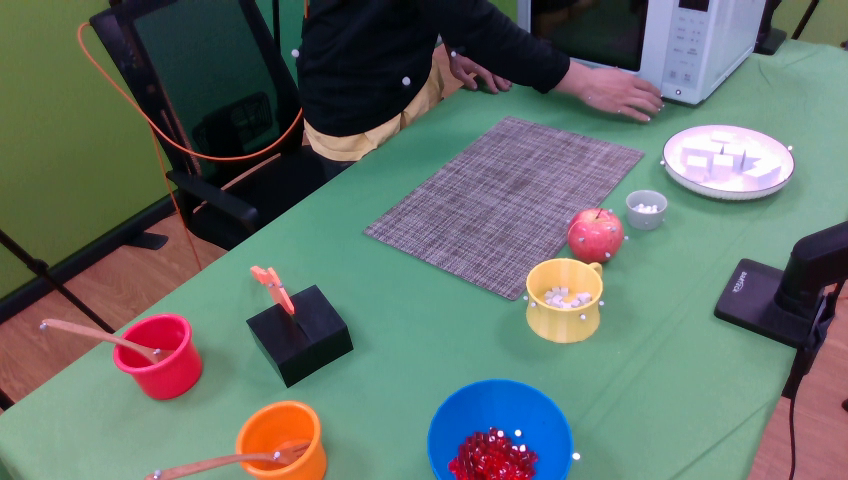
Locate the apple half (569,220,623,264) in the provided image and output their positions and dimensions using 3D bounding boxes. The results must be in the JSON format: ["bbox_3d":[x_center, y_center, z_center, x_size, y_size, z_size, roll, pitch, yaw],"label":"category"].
[{"bbox_3d":[0.251,0.010,0.884,0.081,0.081,0.032,3,37,12],"label":"apple half"}]

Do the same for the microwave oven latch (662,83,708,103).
[{"bbox_3d":[0.518,-0.296,1.204,0.078,0.029,0.030,28,52,35],"label":"microwave oven latch"}]

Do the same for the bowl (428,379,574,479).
[{"bbox_3d":[0.082,0.233,0.644,0.151,0.077,0.150,-4,39,4],"label":"bowl"}]

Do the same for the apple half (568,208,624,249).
[{"bbox_3d":[0.259,-0.014,0.914,0.080,0.075,0.053,0,36,15],"label":"apple half"}]

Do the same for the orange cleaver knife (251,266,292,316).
[{"bbox_3d":[-0.221,0.071,0.873,0.012,0.077,0.210,-25,11,-21],"label":"orange cleaver knife"}]

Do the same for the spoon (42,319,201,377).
[{"bbox_3d":[-0.385,0.135,0.779,0.195,0.021,0.041,28,36,-26],"label":"spoon"}]

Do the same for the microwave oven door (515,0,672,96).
[{"bbox_3d":[0.344,-0.455,1.260,0.353,0.245,0.039,26,51,33],"label":"microwave oven door"}]

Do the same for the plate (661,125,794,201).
[{"bbox_3d":[0.513,-0.128,1.035,0.207,0.039,0.206,-4,40,4],"label":"plate"}]

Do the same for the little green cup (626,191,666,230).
[{"bbox_3d":[0.352,-0.046,0.963,0.061,0.039,0.061,-4,40,4],"label":"little green cup"}]

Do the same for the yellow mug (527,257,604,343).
[{"bbox_3d":[0.201,0.072,0.825,0.131,0.064,0.099,-32,46,-27],"label":"yellow mug"}]

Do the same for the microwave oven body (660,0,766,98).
[{"bbox_3d":[0.472,-0.513,1.317,0.438,0.261,0.327,26,51,34],"label":"microwave oven body"}]

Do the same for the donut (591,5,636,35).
[{"bbox_3d":[0.427,-0.498,1.365,0.099,0.048,0.098,-4,39,4],"label":"donut"}]

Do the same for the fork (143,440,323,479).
[{"bbox_3d":[-0.190,0.231,0.631,0.028,0.018,0.209,38,14,37],"label":"fork"}]

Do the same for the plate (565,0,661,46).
[{"bbox_3d":[0.427,-0.491,1.376,0.209,0.038,0.208,-5,41,5],"label":"plate"}]
